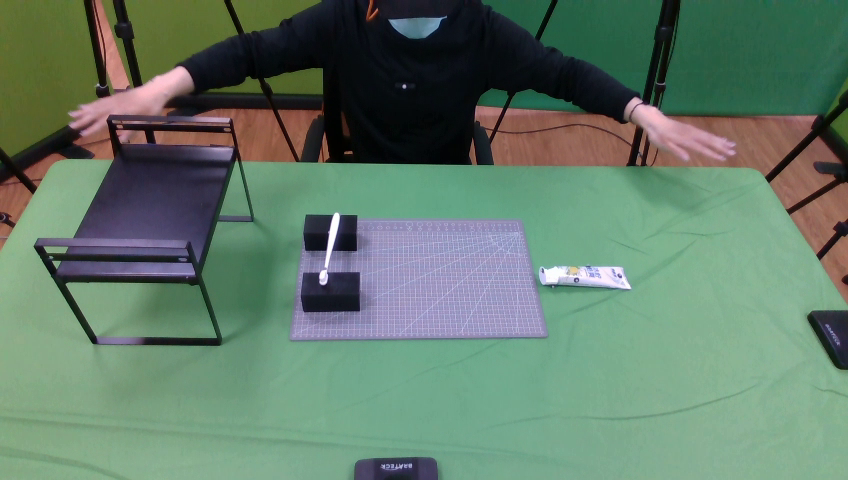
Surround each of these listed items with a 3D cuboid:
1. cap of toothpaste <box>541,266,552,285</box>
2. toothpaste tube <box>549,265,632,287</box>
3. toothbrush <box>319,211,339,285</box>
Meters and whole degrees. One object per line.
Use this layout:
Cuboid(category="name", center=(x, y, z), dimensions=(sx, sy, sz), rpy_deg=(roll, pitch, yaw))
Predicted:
Cuboid(category="cap of toothpaste", center=(0.230, 0.065, 1.135), dimensions=(0.011, 0.037, 0.037), rpy_deg=(-6, 47, -11))
Cuboid(category="toothpaste tube", center=(0.309, 0.068, 1.147), dimensions=(0.165, 0.034, 0.054), rpy_deg=(0, 52, -9))
Cuboid(category="toothbrush", center=(-0.172, 0.009, 1.103), dimensions=(0.014, 0.017, 0.180), rpy_deg=(-6, 44, 9))
